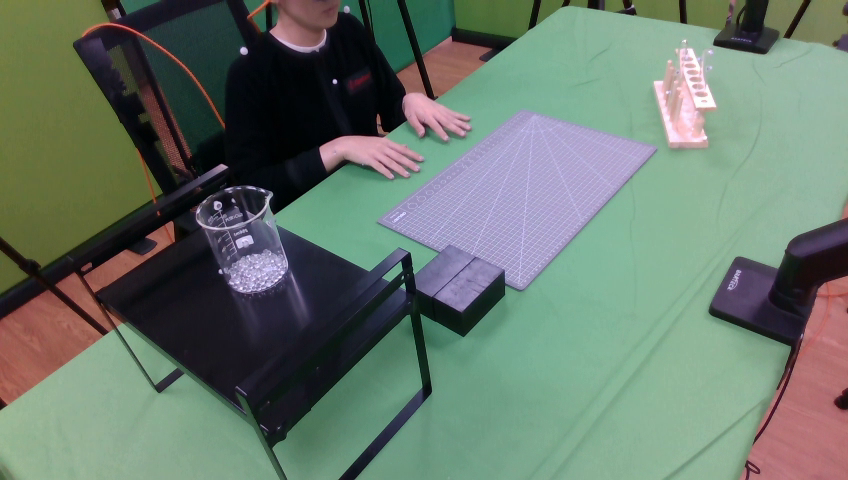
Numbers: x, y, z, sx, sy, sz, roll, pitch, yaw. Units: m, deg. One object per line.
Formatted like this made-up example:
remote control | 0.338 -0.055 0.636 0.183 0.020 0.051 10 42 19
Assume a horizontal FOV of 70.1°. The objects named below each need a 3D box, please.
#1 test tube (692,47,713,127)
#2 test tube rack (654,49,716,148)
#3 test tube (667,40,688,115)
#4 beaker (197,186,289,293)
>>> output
test tube | 0.501 -0.272 1.090 0.017 0.151 0.017 -5 37 4
test tube rack | 0.502 -0.281 1.176 0.066 0.085 0.241 1 41 11
test tube | 0.477 -0.303 1.138 0.017 0.151 0.017 -5 42 5
beaker | -0.192 0.001 0.666 0.084 0.101 0.073 -33 47 -27
